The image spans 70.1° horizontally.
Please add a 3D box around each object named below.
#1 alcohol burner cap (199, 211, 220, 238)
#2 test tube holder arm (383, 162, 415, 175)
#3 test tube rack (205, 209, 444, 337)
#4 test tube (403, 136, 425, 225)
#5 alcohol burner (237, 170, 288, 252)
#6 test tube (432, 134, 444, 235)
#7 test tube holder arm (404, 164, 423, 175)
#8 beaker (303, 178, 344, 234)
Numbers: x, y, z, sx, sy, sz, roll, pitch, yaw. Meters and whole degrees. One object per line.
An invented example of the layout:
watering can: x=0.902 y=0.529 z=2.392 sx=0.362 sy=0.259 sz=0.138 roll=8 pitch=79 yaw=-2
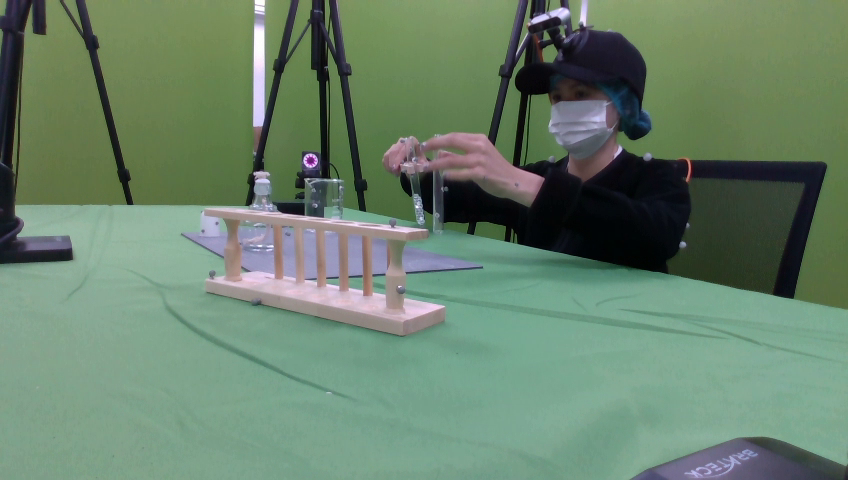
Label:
alcohol burner cap: x=-0.356 y=-0.027 z=1.002 sx=0.034 sy=0.048 sz=0.034 roll=2 pitch=7 yaw=0
test tube holder arm: x=-0.046 y=-0.129 z=1.074 sx=0.013 sy=0.015 sz=0.177 roll=0 pitch=9 yaw=-20
test tube rack: x=-0.100 y=0.021 z=0.565 sx=0.241 sy=0.085 sz=0.067 roll=7 pitch=8 yaw=32
test tube: x=-0.016 y=-0.099 z=1.016 sx=0.017 sy=0.150 sz=0.017 roll=-8 pitch=10 yaw=2
alcohol burner: x=-0.236 y=-0.042 z=0.882 sx=0.078 sy=0.119 sz=0.078 roll=2 pitch=9 yaw=0
test tube: x=0.020 y=-0.079 z=0.860 sx=0.017 sy=0.150 sz=0.017 roll=1 pitch=-14 yaw=1
test tube holder arm: x=-0.024 y=-0.122 z=1.035 sx=0.010 sy=0.015 sz=0.087 roll=-2 pitch=10 yaw=-25
beaker: x=-0.189 y=-0.063 z=1.119 sx=0.073 sy=0.100 sz=0.084 roll=6 pitch=9 yaw=28
